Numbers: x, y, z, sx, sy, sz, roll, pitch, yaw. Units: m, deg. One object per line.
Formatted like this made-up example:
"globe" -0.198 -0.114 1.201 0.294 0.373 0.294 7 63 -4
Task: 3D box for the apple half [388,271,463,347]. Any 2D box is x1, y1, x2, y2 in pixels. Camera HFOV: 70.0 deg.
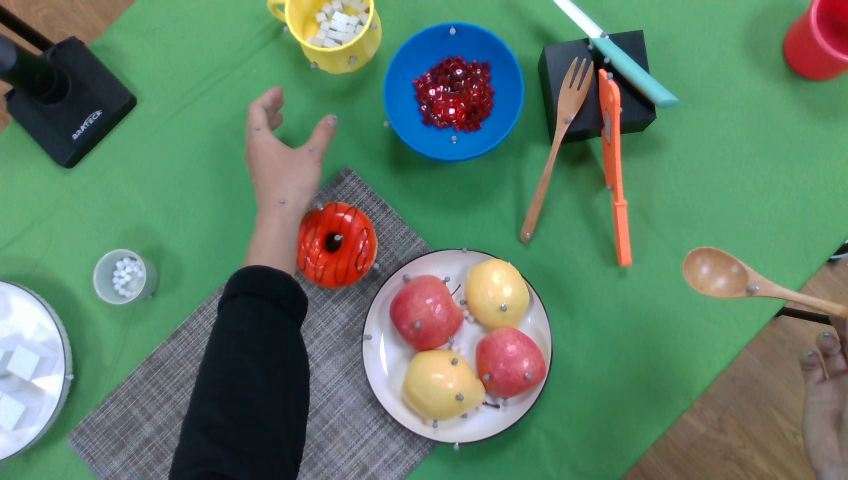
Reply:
"apple half" 0.000 0.076 0.654 0.074 0.053 0.080 -27 88 0

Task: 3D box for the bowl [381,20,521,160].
"bowl" 0.030 -0.156 0.676 0.151 0.077 0.151 0 85 2

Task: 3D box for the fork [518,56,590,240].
"fork" 0.138 -0.095 0.661 0.028 0.018 0.208 14 106 -4

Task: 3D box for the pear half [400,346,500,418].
"pear half" 0.031 0.158 0.649 0.110 0.056 0.076 18 90 1

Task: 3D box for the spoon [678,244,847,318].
"spoon" 0.303 0.047 0.484 0.192 0.022 0.041 19 77 21

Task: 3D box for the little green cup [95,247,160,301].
"little green cup" -0.337 0.040 0.695 0.061 0.039 0.061 0 84 4

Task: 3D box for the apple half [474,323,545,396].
"apple half" 0.084 0.130 0.645 0.081 0.033 0.081 3 99 21

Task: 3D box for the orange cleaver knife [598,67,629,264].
"orange cleaver knife" 0.204 -0.079 0.659 0.012 0.077 0.212 -9 110 7

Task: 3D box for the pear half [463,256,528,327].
"pear half" 0.075 0.063 0.655 0.070 0.031 0.088 -15 94 24

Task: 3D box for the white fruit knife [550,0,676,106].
"white fruit knife" 0.190 -0.217 0.657 0.206 0.016 0.027 46 59 8

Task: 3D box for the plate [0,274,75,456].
"plate" -0.496 0.142 0.693 0.207 0.039 0.207 0 85 3

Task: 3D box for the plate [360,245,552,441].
"plate" 0.035 0.110 0.667 0.209 0.038 0.208 0 84 2

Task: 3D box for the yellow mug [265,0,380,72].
"yellow mug" -0.120 -0.257 0.699 0.131 0.064 0.100 13 86 5

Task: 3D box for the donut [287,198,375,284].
"donut" -0.104 0.002 0.681 0.099 0.048 0.099 0 86 4
